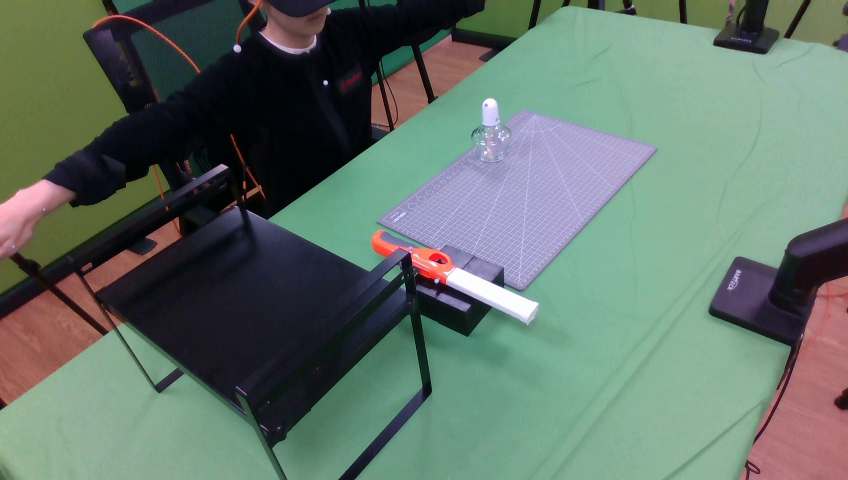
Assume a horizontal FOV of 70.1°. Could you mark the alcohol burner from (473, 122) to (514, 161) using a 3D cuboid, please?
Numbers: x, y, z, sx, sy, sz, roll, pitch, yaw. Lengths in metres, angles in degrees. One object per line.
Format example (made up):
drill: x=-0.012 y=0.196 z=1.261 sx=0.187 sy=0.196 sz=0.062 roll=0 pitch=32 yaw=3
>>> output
alcohol burner: x=0.127 y=-0.208 z=1.123 sx=0.078 sy=0.119 sz=0.077 roll=-5 pitch=39 yaw=5

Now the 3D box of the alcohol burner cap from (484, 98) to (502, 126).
alcohol burner cap: x=0.124 y=-0.235 z=1.101 sx=0.034 sy=0.048 sz=0.033 roll=-6 pitch=38 yaw=5

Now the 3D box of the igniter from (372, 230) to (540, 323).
igniter: x=0.032 y=0.045 z=0.842 sx=0.274 sy=0.025 sz=0.057 roll=24 pitch=47 yaw=28
